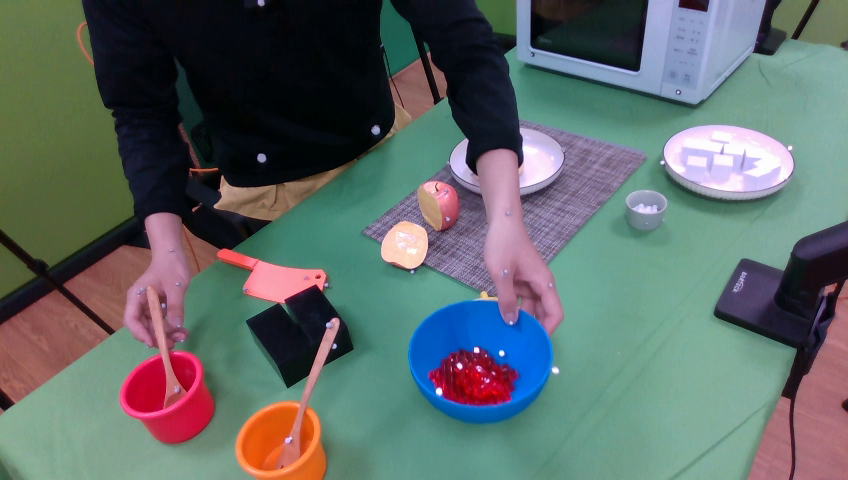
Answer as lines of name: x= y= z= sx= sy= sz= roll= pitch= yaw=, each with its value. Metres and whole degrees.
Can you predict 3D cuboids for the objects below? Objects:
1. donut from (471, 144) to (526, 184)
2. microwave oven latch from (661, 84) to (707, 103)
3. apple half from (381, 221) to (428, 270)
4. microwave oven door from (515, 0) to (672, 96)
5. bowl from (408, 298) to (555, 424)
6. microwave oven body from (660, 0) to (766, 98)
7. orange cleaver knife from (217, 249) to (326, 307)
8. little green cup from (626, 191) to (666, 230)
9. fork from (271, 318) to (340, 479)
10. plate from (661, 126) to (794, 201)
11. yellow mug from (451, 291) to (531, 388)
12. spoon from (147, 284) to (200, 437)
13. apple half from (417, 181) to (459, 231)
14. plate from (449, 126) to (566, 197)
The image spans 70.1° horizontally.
donut: x=0.133 y=-0.138 z=1.082 sx=0.099 sy=0.048 sz=0.098 roll=-5 pitch=38 yaw=4
microwave oven latch: x=0.517 y=-0.296 z=1.204 sx=0.078 sy=0.029 sz=0.030 roll=26 pitch=51 yaw=34
apple half: x=-0.024 y=0.012 z=0.945 sx=0.081 sy=0.033 sz=0.081 roll=-5 pitch=73 yaw=16
microwave oven door: x=0.343 y=-0.454 z=1.259 sx=0.353 sy=0.245 sz=0.039 roll=26 pitch=51 yaw=33
bowl: x=0.061 y=0.140 z=0.642 sx=0.151 sy=0.077 sz=0.150 roll=-3 pitch=37 yaw=3
microwave oven body: x=0.473 y=-0.513 z=1.317 sx=0.438 sy=0.261 sz=0.327 roll=26 pitch=51 yaw=34
orange cleaver knife: x=-0.247 y=0.058 z=0.945 sx=0.210 sy=0.012 sz=0.077 roll=13 pitch=50 yaw=20
little green cup: x=0.352 y=-0.046 z=0.963 sx=0.061 sy=0.039 sz=0.061 roll=-4 pitch=40 yaw=4
fork: x=-0.132 y=0.186 z=0.676 sx=0.028 sy=0.019 sz=0.207 roll=18 pitch=90 yaw=28
plate: x=0.513 y=-0.127 z=1.035 sx=0.207 sy=0.039 sz=0.206 roll=-4 pitch=40 yaw=4
yellow mug: x=0.085 y=0.120 z=0.786 sx=0.100 sy=0.064 sz=0.130 roll=-7 pitch=39 yaw=1
spoon: x=-0.318 y=0.148 z=0.754 sx=0.042 sy=0.021 sz=0.193 roll=-15 pitch=86 yaw=-8
apple half: x=0.030 y=-0.059 z=0.995 sx=0.053 sy=0.075 sz=0.080 roll=-24 pitch=39 yaw=-23
plate: x=0.150 y=-0.138 z=1.096 sx=0.209 sy=0.038 sz=0.208 roll=-4 pitch=40 yaw=4
